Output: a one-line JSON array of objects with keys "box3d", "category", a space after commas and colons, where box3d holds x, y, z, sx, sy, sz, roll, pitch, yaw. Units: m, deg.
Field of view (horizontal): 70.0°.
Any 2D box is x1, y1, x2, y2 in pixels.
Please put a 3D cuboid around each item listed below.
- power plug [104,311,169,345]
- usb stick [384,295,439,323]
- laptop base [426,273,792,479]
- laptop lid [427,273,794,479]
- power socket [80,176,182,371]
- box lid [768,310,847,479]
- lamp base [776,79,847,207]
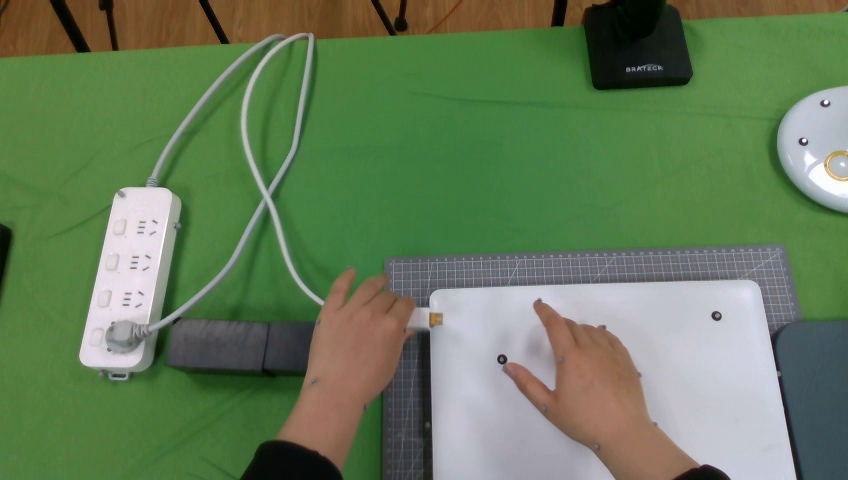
[{"box3d": [-0.300, 0.097, 0.637, 0.072, 0.053, 0.035, 13, 71, 4], "category": "power plug"}, {"box3d": [-0.009, 0.072, 0.620, 0.059, 0.027, 0.021, 10, 86, 26], "category": "usb stick"}, {"box3d": [0.181, 0.153, 0.628, 0.354, 0.023, 0.234, -2, 74, 2], "category": "laptop base"}, {"box3d": [0.180, 0.152, 0.616, 0.357, 0.013, 0.240, 0, 73, 2], "category": "laptop lid"}, {"box3d": [-0.326, 0.031, 0.681, 0.072, 0.033, 0.225, 2, 71, 2], "category": "power socket"}, {"box3d": [0.496, 0.247, 0.586, 0.263, 0.015, 0.369, -2, 71, 1], "category": "box lid"}, {"box3d": [0.494, -0.148, 0.633, 0.160, 0.181, 0.178, 31, 72, 12], "category": "lamp base"}]
